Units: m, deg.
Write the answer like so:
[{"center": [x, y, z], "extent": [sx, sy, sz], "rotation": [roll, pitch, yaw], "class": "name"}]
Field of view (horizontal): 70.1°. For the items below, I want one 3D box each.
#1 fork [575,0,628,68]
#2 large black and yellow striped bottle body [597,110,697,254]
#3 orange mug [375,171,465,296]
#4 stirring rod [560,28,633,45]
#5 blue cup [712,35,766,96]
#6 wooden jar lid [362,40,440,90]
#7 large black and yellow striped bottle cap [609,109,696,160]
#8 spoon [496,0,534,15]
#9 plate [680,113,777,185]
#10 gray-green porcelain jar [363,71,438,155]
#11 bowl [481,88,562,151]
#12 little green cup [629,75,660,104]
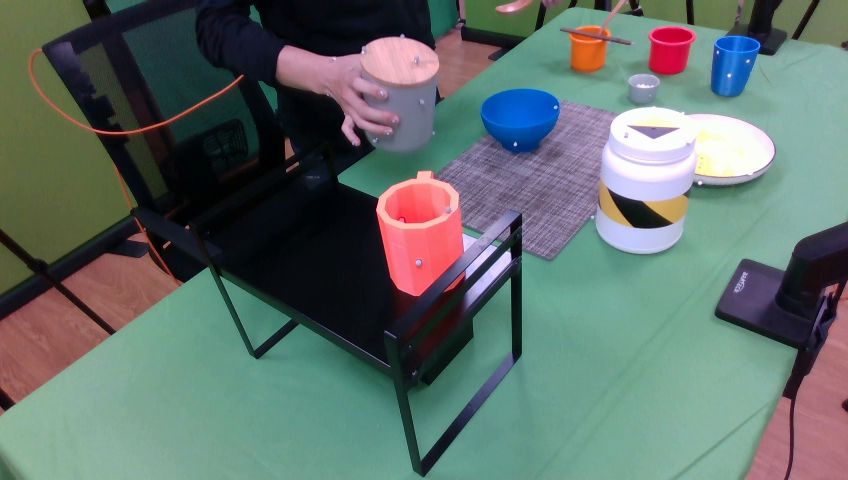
[{"center": [0.413, -0.481, 1.377], "extent": [0.207, 0.019, 0.028], "rotation": [-56, 43, 12], "class": "fork"}, {"center": [0.331, -0.086, 0.904], "extent": [0.131, 0.185, 0.130], "rotation": [-5, 41, 4], "class": "large black and yellow striped bottle body"}, {"center": [0.000, -0.016, 0.661], "extent": [0.083, 0.101, 0.125], "rotation": [-2, 45, 8], "class": "orange mug"}, {"center": [0.381, -0.452, 1.345], "extent": [0.174, 0.006, 0.014], "rotation": [26, 49, 33], "class": "stirring rod"}, {"center": [0.627, -0.350, 1.227], "extent": [0.092, 0.100, 0.092], "rotation": [-4, 39, 4], "class": "blue cup"}, {"center": [-0.033, -0.237, 0.835], "extent": [0.108, 0.021, 0.108], "rotation": [4, 50, -5], "class": "wooden jar lid"}, {"center": [0.319, -0.150, 0.849], "extent": [0.115, 0.019, 0.114], "rotation": [-4, 39, 3], "class": "large black and yellow striped bottle cap"}, {"center": [0.214, -0.428, 1.031], "extent": [0.193, 0.022, 0.041], "rotation": [-24, 33, 11], "class": "spoon"}, {"center": [0.506, -0.158, 1.073], "extent": [0.209, 0.038, 0.208], "rotation": [-5, 40, 4], "class": "plate"}, {"center": [-0.037, -0.197, 0.881], "extent": [0.106, 0.127, 0.105], "rotation": [3, 49, -3], "class": "gray-green porcelain jar"}, {"center": [0.187, -0.223, 1.161], "extent": [0.151, 0.077, 0.150], "rotation": [-4, 40, 4], "class": "bowl"}, {"center": [0.457, -0.314, 1.260], "extent": [0.061, 0.039, 0.061], "rotation": [-4, 40, 4], "class": "little green cup"}]
